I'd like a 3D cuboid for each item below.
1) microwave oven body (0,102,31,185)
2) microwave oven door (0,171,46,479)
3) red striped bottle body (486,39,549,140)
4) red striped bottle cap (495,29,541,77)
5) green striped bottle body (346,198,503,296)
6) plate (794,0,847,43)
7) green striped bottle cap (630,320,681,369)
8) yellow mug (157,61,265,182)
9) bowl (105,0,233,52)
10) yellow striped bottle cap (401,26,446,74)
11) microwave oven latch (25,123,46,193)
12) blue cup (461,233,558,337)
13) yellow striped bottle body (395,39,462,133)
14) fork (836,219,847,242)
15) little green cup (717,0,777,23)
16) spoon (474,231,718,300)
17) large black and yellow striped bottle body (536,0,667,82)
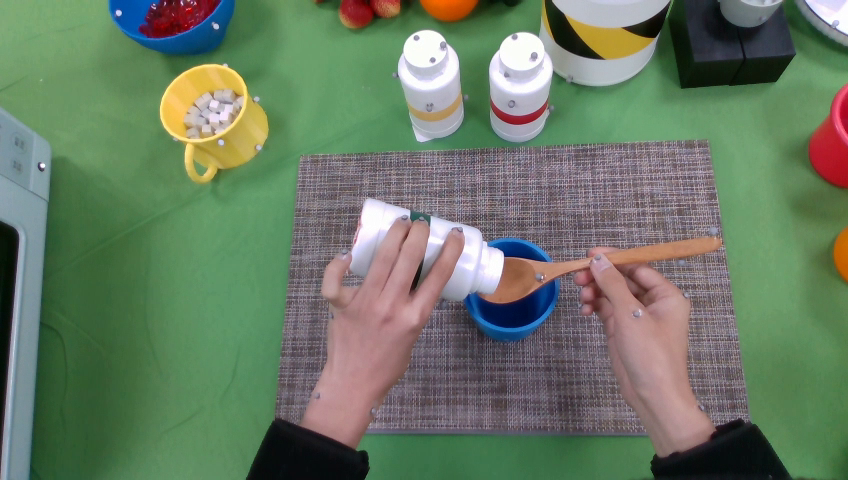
[{"bbox_3d":[-0.582,0.066,0.549,0.326,0.262,0.438,-10,71,3],"label":"microwave oven body"},{"bbox_3d":[-0.433,0.078,0.523,0.039,0.245,0.353,-11,70,3],"label":"microwave oven door"},{"bbox_3d":[0.098,-0.161,0.629,0.063,0.120,0.062,-4,68,10],"label":"red striped bottle body"},{"bbox_3d":[0.090,-0.179,0.580,0.044,0.018,0.044,-1,69,2],"label":"red striped bottle cap"},{"bbox_3d":[0.002,0.008,0.487,0.119,0.063,0.063,12,72,-5],"label":"green striped bottle body"},{"bbox_3d":[0.506,-0.294,0.672,0.209,0.038,0.207,-2,71,6],"label":"plate"},{"bbox_3d":[0.220,0.099,0.576,0.044,0.020,0.044,-2,67,5],"label":"green striped bottle cap"},{"bbox_3d":[-0.243,-0.128,0.685,0.100,0.064,0.130,8,73,8],"label":"yellow mug"},{"bbox_3d":[-0.295,-0.285,0.739,0.151,0.077,0.150,-2,71,5],"label":"bowl"},{"bbox_3d":[-0.001,-0.187,0.594,0.044,0.019,0.044,-2,72,5],"label":"yellow striped bottle cap"},{"bbox_3d":[-0.453,-0.092,0.692,0.030,0.030,0.078,-9,71,3],"label":"microwave oven latch"},{"bbox_3d":[0.075,0.051,0.564,0.092,0.101,0.092,-1,70,4],"label":"blue cup"},{"bbox_3d":[0.005,-0.169,0.642,0.063,0.121,0.062,-2,70,7],"label":"yellow striped bottle body"},{"bbox_3d":[0.452,0.020,0.509,0.028,0.019,0.205,-39,27,-6],"label":"fork"},{"bbox_3d":[0.336,-0.257,0.625,0.061,0.039,0.061,-2,69,5],"label":"little green cup"},{"bbox_3d":[0.131,0.017,0.485,0.193,0.022,0.041,-12,64,22],"label":"spoon"},{"bbox_3d":[0.185,-0.266,0.621,0.130,0.185,0.130,-2,70,6],"label":"large black and yellow striped bottle body"}]
